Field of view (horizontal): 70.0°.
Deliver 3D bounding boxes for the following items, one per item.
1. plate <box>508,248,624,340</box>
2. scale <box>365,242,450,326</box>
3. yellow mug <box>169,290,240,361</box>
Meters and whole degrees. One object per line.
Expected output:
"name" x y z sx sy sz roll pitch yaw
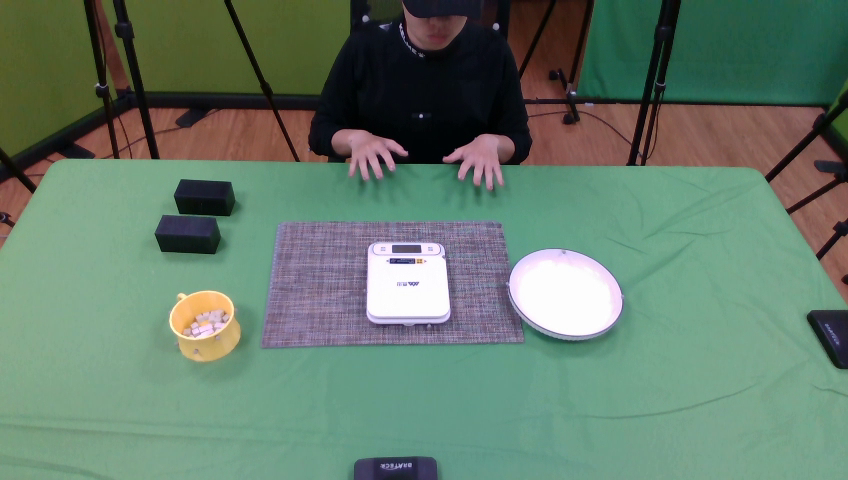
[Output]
"plate" 0.256 0.101 1.106 0.209 0.038 0.208 2 45 -2
"scale" -0.032 0.071 1.113 0.149 0.032 0.199 1 46 -4
"yellow mug" -0.373 0.132 1.009 0.130 0.064 0.100 35 53 27
